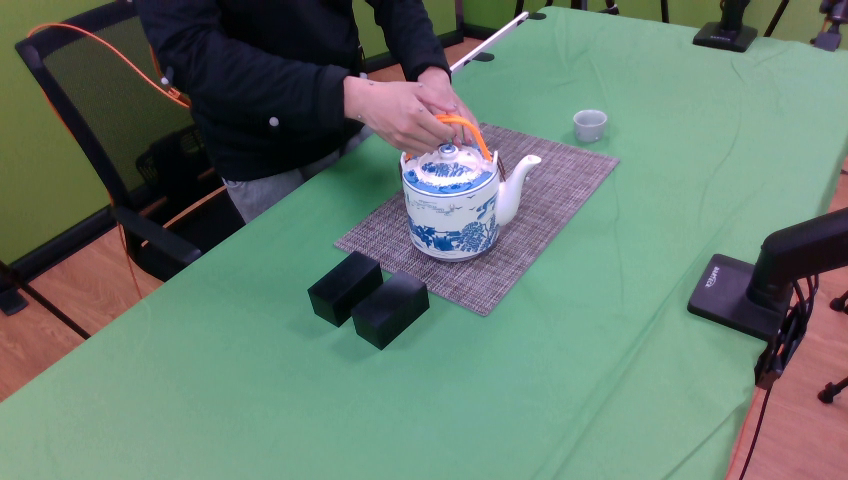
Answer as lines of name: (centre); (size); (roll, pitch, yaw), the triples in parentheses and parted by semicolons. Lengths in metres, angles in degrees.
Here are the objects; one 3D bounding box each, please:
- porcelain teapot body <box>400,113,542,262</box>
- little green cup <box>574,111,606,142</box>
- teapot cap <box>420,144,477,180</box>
porcelain teapot body: (0.069, -0.086, 0.897); (0.205, 0.226, 0.144); (-1, 40, 7)
little green cup: (0.318, -0.217, 1.164); (0.061, 0.039, 0.061); (-3, 41, 3)
teapot cap: (0.036, -0.115, 0.874); (0.085, 0.044, 0.084); (-1, 45, 1)
